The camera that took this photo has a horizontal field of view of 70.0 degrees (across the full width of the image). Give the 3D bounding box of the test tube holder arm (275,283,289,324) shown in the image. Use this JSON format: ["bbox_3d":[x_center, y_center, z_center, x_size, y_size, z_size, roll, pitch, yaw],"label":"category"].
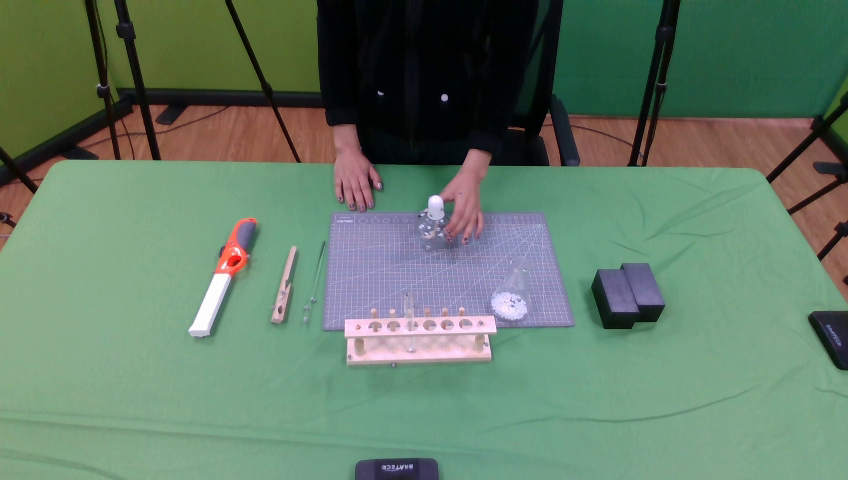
[{"bbox_3d":[-0.254,0.111,1.077,0.010,0.015,0.087,29,38,-27],"label":"test tube holder arm"}]

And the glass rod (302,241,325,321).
[{"bbox_3d":[-0.204,0.071,1.124,0.008,0.008,0.198,4,44,1],"label":"glass rod"}]

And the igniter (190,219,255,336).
[{"bbox_3d":[-0.365,0.058,1.110,0.057,0.025,0.275,-1,45,8],"label":"igniter"}]

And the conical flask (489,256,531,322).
[{"bbox_3d":[0.158,0.081,1.061,0.075,0.122,0.075,2,46,-2],"label":"conical flask"}]

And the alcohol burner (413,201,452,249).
[{"bbox_3d":[0.018,-0.039,1.172,0.078,0.119,0.077,3,47,-3],"label":"alcohol burner"}]

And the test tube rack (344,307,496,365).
[{"bbox_3d":[-0.009,0.154,1.007,0.242,0.085,0.066,-1,46,-5],"label":"test tube rack"}]

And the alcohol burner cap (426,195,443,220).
[{"bbox_3d":[0.019,-0.063,1.145,0.034,0.048,0.033,-1,49,1],"label":"alcohol burner cap"}]

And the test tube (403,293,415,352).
[{"bbox_3d":[-0.024,0.133,0.957,0.017,0.151,0.017,0,48,0],"label":"test tube"}]

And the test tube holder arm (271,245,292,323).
[{"bbox_3d":[-0.259,0.076,1.106,0.013,0.015,0.177,28,38,-28],"label":"test tube holder arm"}]
